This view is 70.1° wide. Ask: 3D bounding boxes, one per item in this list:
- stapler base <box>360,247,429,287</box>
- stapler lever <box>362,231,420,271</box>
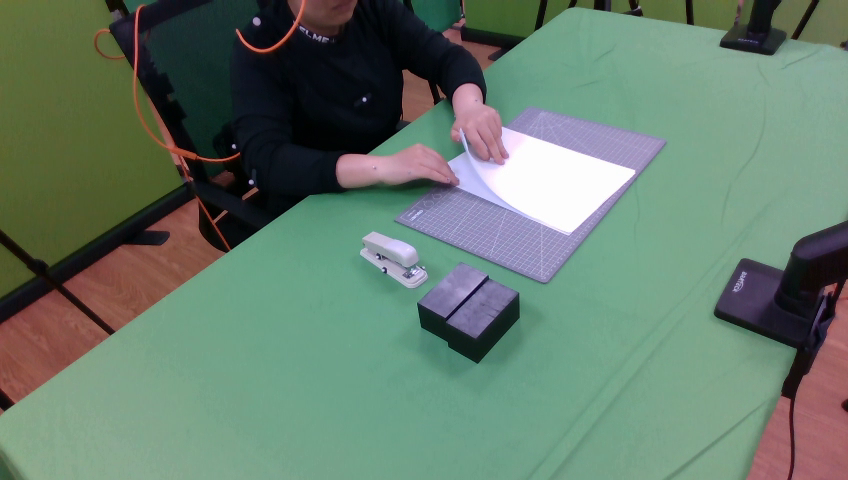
[{"bbox_3d":[-0.048,0.031,0.949,0.041,0.024,0.129,-34,45,-31],"label":"stapler base"},{"bbox_3d":[-0.052,0.011,0.933,0.027,0.040,0.117,-34,45,-31],"label":"stapler lever"}]
